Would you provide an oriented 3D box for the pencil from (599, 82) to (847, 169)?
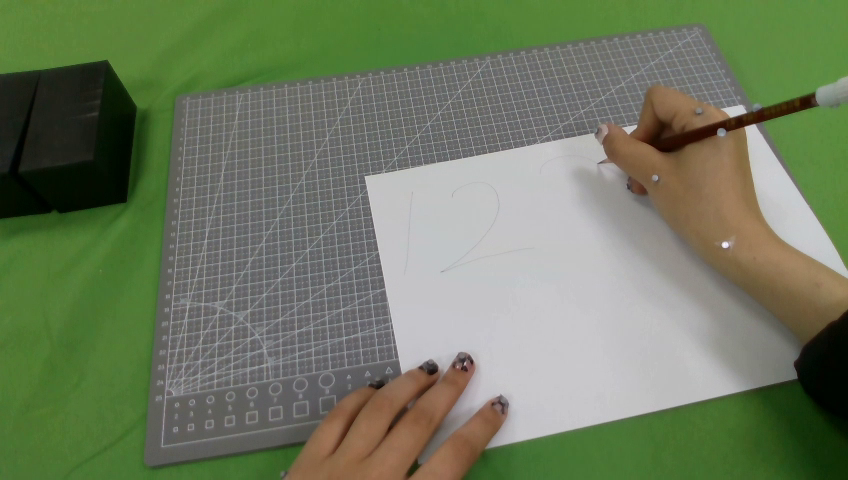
[{"bbox_3d":[0.168,-0.061,0.359,0.012,0.193,0.012,2,84,-24],"label":"pencil"}]
